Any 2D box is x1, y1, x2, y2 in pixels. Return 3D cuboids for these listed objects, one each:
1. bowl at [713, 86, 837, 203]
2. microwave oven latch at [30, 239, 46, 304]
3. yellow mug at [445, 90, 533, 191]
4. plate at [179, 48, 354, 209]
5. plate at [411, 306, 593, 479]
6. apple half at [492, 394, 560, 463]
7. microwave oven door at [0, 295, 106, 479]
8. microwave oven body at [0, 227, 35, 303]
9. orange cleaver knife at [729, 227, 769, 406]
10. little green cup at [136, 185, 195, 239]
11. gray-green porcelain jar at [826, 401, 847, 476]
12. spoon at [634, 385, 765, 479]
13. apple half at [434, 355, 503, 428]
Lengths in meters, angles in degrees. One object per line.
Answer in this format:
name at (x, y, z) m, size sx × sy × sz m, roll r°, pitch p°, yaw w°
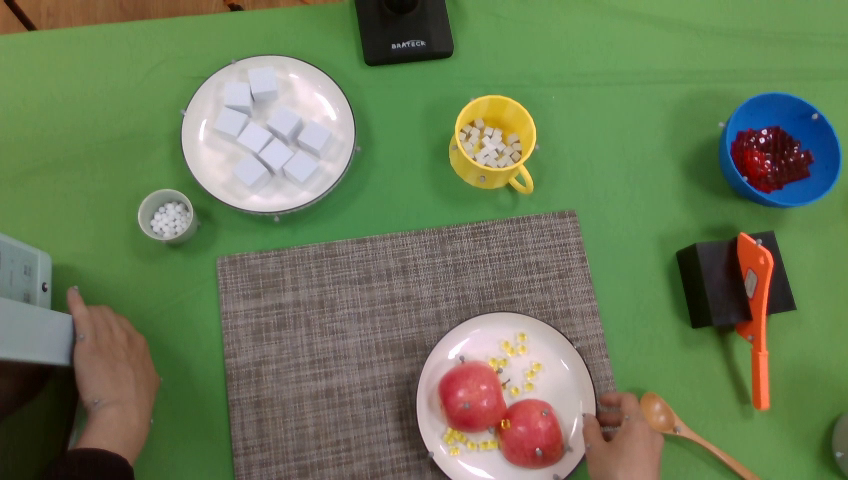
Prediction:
bowl at (0.432, -0.111, 0.777) m, size 0.151 × 0.077 × 0.150 m, roll 1°, pitch 78°, yaw -4°
microwave oven latch at (-0.437, 0.040, 0.668) m, size 0.030 × 0.029 × 0.079 m, roll -3°, pitch 78°, yaw -6°
yellow mug at (0.089, -0.115, 0.754) m, size 0.100 × 0.064 × 0.130 m, roll -37°, pitch 84°, yaw -12°
plate at (-0.190, -0.135, 0.749) m, size 0.208 × 0.039 × 0.206 m, roll 1°, pitch 77°, yaw -5°
plate at (0.087, 0.181, 0.698) m, size 0.209 × 0.038 × 0.208 m, roll 1°, pitch 77°, yaw -5°
apple half at (0.118, 0.215, 0.687) m, size 0.081 × 0.033 × 0.081 m, roll 1°, pitch 73°, yaw -3°
microwave oven door at (-0.377, 0.230, 0.526) m, size 0.039 × 0.244 × 0.354 m, roll 5°, pitch 77°, yaw -3°
microwave oven body at (-0.558, 0.202, 0.521) m, size 0.326 × 0.261 × 0.439 m, roll -5°, pitch 78°, yaw -7°
orange cleaver knife at (0.386, 0.092, 0.725) m, size 0.012 × 0.077 × 0.212 m, roll -7°, pitch 101°, yaw -2°
little green cup at (-0.301, -0.030, 0.713) m, size 0.061 × 0.039 × 0.061 m, roll 1°, pitch 78°, yaw -6°
gray-green porcelain jar at (0.539, 0.232, 0.685) m, size 0.106 × 0.127 × 0.105 m, roll 1°, pitch 77°, yaw -5°
spoon at (0.327, 0.237, 0.718) m, size 0.193 × 0.022 × 0.041 m, roll 34°, pitch 59°, yaw 3°
apple half at (0.050, 0.171, 0.681) m, size 0.075 × 0.053 × 0.080 m, roll -11°, pitch 79°, yaw -5°
